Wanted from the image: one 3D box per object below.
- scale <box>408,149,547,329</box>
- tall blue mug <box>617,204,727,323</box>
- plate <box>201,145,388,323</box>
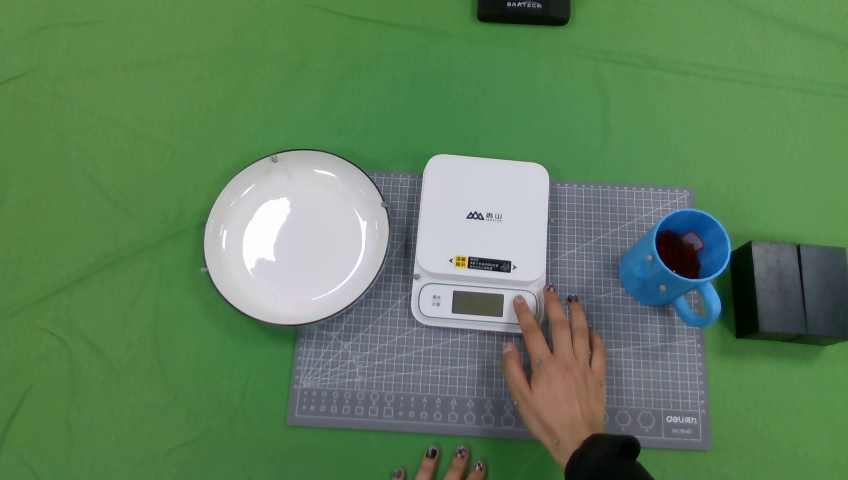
[{"bbox_3d":[0.063,-0.004,0.689,0.148,0.032,0.200,5,74,1],"label":"scale"},{"bbox_3d":[0.270,0.026,0.641,0.107,0.108,0.077,39,76,11],"label":"tall blue mug"},{"bbox_3d":[-0.143,-0.006,0.686,0.209,0.038,0.208,0,73,2],"label":"plate"}]
